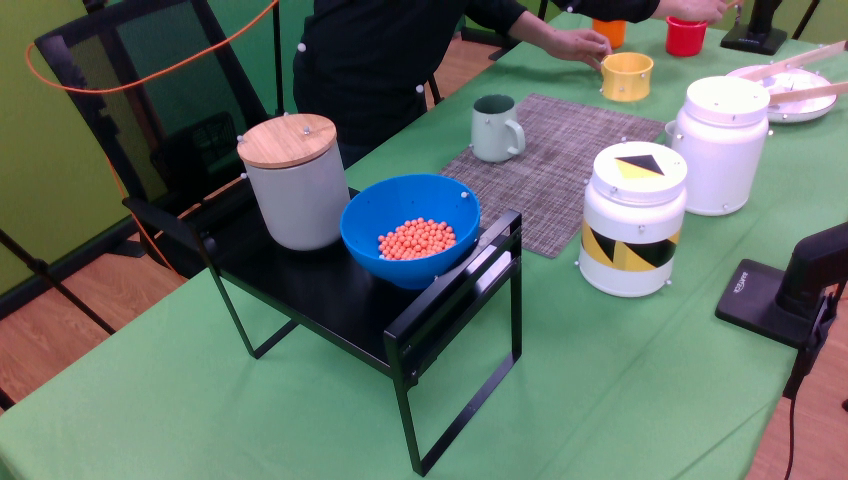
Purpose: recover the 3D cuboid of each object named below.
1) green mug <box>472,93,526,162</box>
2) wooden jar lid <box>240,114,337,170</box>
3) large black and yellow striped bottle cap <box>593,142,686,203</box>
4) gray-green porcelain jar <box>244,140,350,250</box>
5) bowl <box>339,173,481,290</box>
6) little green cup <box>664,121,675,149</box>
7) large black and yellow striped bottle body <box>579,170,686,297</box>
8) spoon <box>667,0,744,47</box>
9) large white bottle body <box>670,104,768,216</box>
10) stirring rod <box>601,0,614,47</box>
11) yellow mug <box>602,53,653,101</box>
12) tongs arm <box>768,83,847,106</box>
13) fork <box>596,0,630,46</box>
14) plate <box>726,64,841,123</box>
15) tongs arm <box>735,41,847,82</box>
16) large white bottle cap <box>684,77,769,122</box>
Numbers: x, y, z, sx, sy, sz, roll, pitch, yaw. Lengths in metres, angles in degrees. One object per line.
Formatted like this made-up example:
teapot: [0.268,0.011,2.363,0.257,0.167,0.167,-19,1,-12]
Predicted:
green mug: [0.144,-0.202,1.122,0.093,0.105,0.124,-29,45,-23]
wooden jar lid: [-0.149,-0.106,0.673,0.108,0.021,0.108,-6,38,5]
large black and yellow striped bottle cap: [0.280,-0.090,0.786,0.115,0.019,0.114,-5,41,5]
gray-green porcelain jar: [-0.144,-0.060,0.714,0.106,0.127,0.105,-4,41,4]
bowl: [-0.011,0.001,0.660,0.151,0.077,0.150,-5,41,5]
little green cup: [0.472,-0.188,1.113,0.061,0.039,0.061,-4,40,4]
large black and yellow striped bottle body: [0.287,-0.027,0.841,0.131,0.185,0.130,-4,40,4]
spoon: [0.635,-0.491,1.357,0.193,0.022,0.041,-34,18,46]
large white bottle body: [0.458,-0.146,0.952,0.130,0.185,0.130,-4,40,4]
stirring rod: [0.439,-0.552,1.463,0.014,0.006,0.175,-7,83,3]
yellow mug: [0.423,-0.354,1.292,0.100,0.064,0.129,-23,42,-16]
tongs arm: [0.738,-0.281,1.134,0.388,0.028,0.028,-9,47,-5]
fork: [0.481,-0.556,1.452,0.028,0.019,0.207,40,103,39]
plate: [0.694,-0.282,1.189,0.207,0.039,0.206,-4,40,4]
tongs arm: [0.712,-0.332,1.194,0.386,0.026,0.050,-18,45,-16]
large white bottle cap: [0.448,-0.209,0.897,0.115,0.018,0.114,-4,40,4]
